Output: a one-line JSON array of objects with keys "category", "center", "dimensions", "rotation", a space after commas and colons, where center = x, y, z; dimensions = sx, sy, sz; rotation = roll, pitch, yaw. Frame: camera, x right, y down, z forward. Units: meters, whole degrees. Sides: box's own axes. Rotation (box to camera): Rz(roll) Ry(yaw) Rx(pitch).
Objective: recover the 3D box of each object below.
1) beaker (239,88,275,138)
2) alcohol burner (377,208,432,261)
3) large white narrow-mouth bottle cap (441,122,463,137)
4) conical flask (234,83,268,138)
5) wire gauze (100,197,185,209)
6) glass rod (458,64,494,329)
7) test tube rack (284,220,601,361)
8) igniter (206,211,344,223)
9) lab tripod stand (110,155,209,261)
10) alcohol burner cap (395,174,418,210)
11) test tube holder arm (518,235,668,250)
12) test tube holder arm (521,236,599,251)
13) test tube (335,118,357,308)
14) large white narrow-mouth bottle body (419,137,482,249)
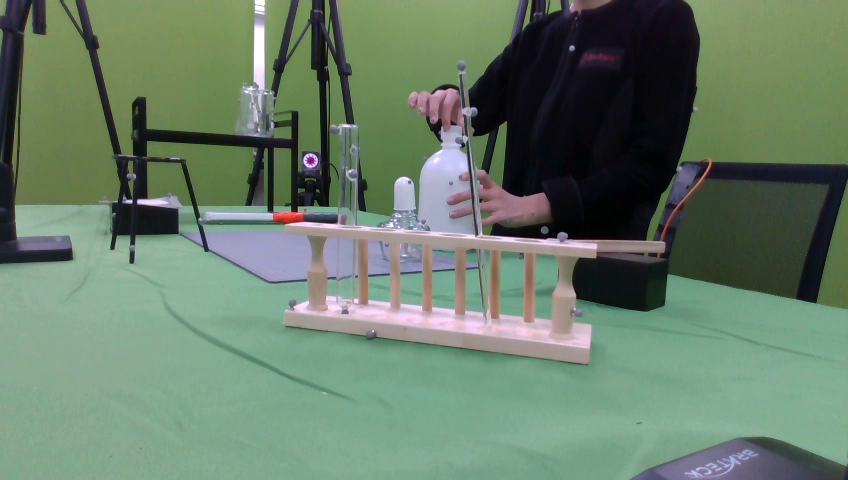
[{"category": "beaker", "center": [-0.361, -0.273, 1.307], "dimensions": [0.074, 0.100, 0.084], "rotation": [0, 8, -11]}, {"category": "alcohol burner", "center": [-0.027, -0.031, 0.838], "dimensions": [0.078, 0.119, 0.078], "rotation": [0, 6, 0]}, {"category": "large white narrow-mouth bottle cap", "center": [0.045, -0.179, 0.983], "dimensions": [0.038, 0.024, 0.037], "rotation": [2, 8, 0]}, {"category": "conical flask", "center": [-0.399, -0.298, 1.396], "dimensions": [0.075, 0.122, 0.075], "rotation": [2, 8, 0]}, {"category": "wire gauze", "center": [-0.469, -0.062, 1.008], "dimensions": [0.126, 0.011, 0.121], "rotation": [-2, 8, -25]}, {"category": "glass rod", "center": [0.039, -0.029, 0.449], "dimensions": [0.008, 0.199, 0.008], "rotation": [-7, 9, 1]}, {"category": "test tube rack", "center": [0.013, 0.032, 0.482], "dimensions": [0.242, 0.085, 0.067], "rotation": [4, 7, 16]}, {"category": "igniter", "center": [-0.302, -0.048, 1.249], "dimensions": [0.278, 0.025, 0.057], "rotation": [-2, -2, -27]}, {"category": "lab tripod stand", "center": [-0.361, -0.046, 0.806], "dimensions": [0.148, 0.131, 0.148], "rotation": [2, 5, 0]}, {"category": "alcohol burner cap", "center": [-0.026, -0.067, 0.833], "dimensions": [0.034, 0.048, 0.034], "rotation": [-1, 12, 1]}, {"category": "test tube holder arm", "center": [0.186, 0.003, 0.654], "dimensions": [0.179, 0.015, 0.013], "rotation": [0, 12, -17]}, {"category": "test tube holder arm", "center": [0.144, 0.004, 0.635], "dimensions": [0.088, 0.015, 0.010], "rotation": [0, 12, -19]}, {"category": "test tube", "center": [-0.061, -0.019, 0.476], "dimensions": [0.017, 0.150, 0.017], "rotation": [2, 10, 0]}, {"category": "large white narrow-mouth bottle body", "center": [0.044, -0.086, 0.996], "dimensions": [0.102, 0.194, 0.102], "rotation": [2, 8, 0]}]
